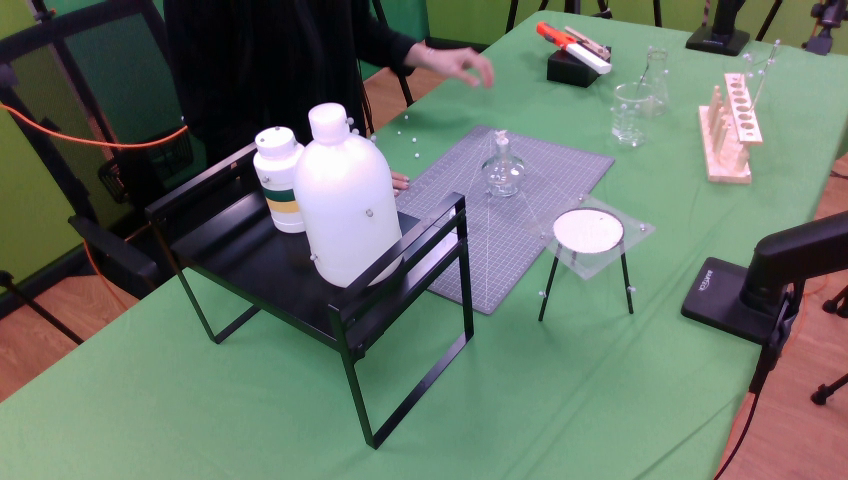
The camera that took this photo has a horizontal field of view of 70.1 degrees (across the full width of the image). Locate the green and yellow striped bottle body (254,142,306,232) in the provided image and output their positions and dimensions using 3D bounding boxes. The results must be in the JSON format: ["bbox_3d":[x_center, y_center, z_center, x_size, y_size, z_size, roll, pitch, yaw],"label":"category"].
[{"bbox_3d":[-0.165,-0.073,0.732,0.063,0.120,0.063,-4,41,4],"label":"green and yellow striped bottle body"}]

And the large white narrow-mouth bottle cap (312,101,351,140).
[{"bbox_3d":[-0.089,-0.114,0.578,0.038,0.024,0.037,-3,39,3],"label":"large white narrow-mouth bottle cap"}]

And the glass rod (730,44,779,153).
[{"bbox_3d":[0.555,-0.233,1.020,0.008,0.200,0.008,2,40,-1],"label":"glass rod"}]

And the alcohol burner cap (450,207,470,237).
[{"bbox_3d":[0.057,-0.032,0.987,0.034,0.048,0.033,-4,41,4],"label":"alcohol burner cap"}]

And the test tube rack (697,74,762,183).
[{"bbox_3d":[0.547,-0.208,1.095,0.066,0.085,0.242,5,42,15],"label":"test tube rack"}]

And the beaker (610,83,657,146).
[{"bbox_3d":[0.388,-0.235,1.138,0.074,0.101,0.083,-31,45,-26],"label":"beaker"}]

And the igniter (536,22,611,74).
[{"bbox_3d":[0.329,-0.438,1.366,0.057,0.025,0.274,-11,41,-19],"label":"igniter"}]

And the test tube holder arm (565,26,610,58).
[{"bbox_3d":[0.369,-0.450,1.373,0.013,0.015,0.177,-39,41,10],"label":"test tube holder arm"}]

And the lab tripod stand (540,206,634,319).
[{"bbox_3d":[0.218,0.034,0.821,0.148,0.132,0.147,-4,42,4],"label":"lab tripod stand"}]

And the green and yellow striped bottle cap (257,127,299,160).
[{"bbox_3d":[-0.169,-0.112,0.699,0.045,0.020,0.045,-5,41,5],"label":"green and yellow striped bottle cap"}]

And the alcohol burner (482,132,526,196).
[{"bbox_3d":[0.137,-0.136,1.042,0.078,0.119,0.077,-4,43,4],"label":"alcohol burner"}]

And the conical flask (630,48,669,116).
[{"bbox_3d":[0.457,-0.317,1.205,0.075,0.122,0.075,-4,41,4],"label":"conical flask"}]

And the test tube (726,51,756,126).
[{"bbox_3d":[0.568,-0.268,1.086,0.017,0.151,0.017,-4,46,4],"label":"test tube"}]

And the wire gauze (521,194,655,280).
[{"bbox_3d":[0.207,-0.012,0.772,0.122,0.011,0.124,-28,44,-20],"label":"wire gauze"}]

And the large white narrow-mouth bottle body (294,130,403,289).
[{"bbox_3d":[-0.082,-0.047,0.634,0.102,0.195,0.101,-4,40,3],"label":"large white narrow-mouth bottle body"}]

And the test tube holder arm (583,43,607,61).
[{"bbox_3d":[0.379,-0.420,1.341,0.010,0.015,0.087,-39,41,11],"label":"test tube holder arm"}]
